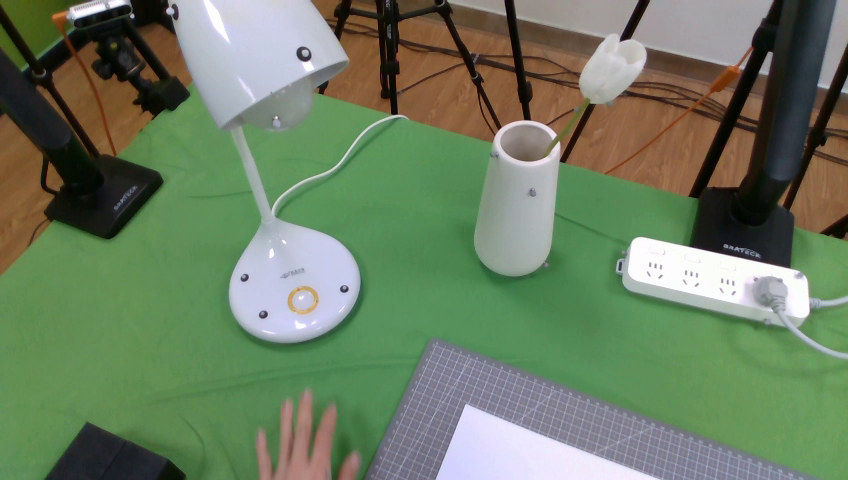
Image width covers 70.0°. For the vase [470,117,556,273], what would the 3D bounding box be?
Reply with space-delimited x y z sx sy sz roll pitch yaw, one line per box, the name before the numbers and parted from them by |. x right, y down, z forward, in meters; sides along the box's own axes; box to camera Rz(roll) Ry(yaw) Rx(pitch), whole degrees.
vase | 0.104 -0.048 0.711 0.098 0.202 0.097 -1 53 2

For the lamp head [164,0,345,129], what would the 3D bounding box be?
lamp head | -0.135 -0.158 0.447 0.112 0.112 0.123 -35 99 -22

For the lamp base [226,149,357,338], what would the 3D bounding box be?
lamp base | -0.172 -0.004 0.695 0.161 0.182 0.177 -28 55 -18

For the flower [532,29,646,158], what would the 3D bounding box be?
flower | 0.118 -0.084 0.636 0.044 0.363 0.038 -16 72 -20

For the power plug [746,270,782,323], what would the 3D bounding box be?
power plug | 0.387 0.067 0.697 0.035 0.053 0.072 23 64 17

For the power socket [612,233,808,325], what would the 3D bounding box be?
power socket | 0.348 0.046 0.741 0.226 0.033 0.071 14 56 10
